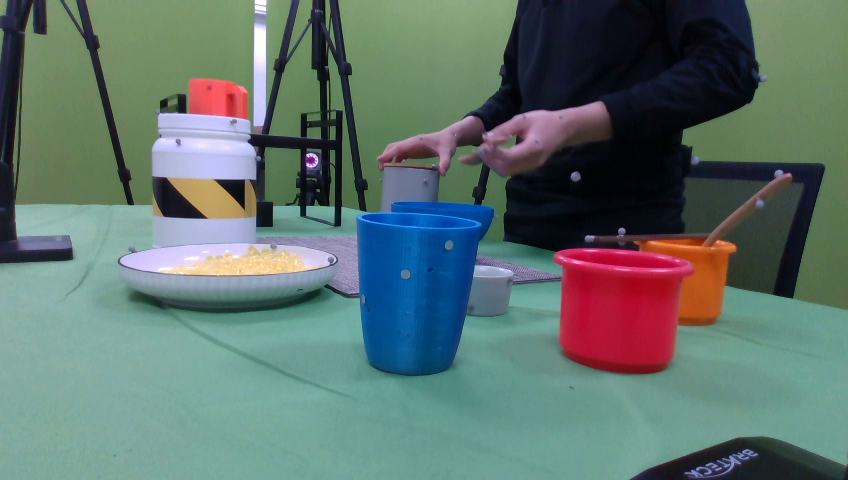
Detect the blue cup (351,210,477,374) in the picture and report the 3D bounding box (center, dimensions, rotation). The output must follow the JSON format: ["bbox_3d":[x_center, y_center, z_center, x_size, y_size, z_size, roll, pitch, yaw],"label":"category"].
[{"bbox_3d":[-0.010,0.034,0.414,0.093,0.100,0.092,4,8,0],"label":"blue cup"}]

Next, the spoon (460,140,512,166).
[{"bbox_3d":[0.088,-0.126,0.864,0.042,0.021,0.193,-5,-2,-10],"label":"spoon"}]

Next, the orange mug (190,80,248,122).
[{"bbox_3d":[-0.394,-0.257,1.173,0.126,0.100,0.084,1,6,25],"label":"orange mug"}]

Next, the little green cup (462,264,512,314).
[{"bbox_3d":[0.053,0.047,0.579,0.061,0.038,0.061,3,8,0],"label":"little green cup"}]

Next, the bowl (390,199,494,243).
[{"bbox_3d":[0.024,-0.015,0.871,0.151,0.077,0.151,3,7,0],"label":"bowl"}]

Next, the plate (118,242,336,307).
[{"bbox_3d":[-0.194,0.033,0.615,0.209,0.038,0.209,2,7,0],"label":"plate"}]

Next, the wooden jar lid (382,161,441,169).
[{"bbox_3d":[-0.023,-0.134,1.121,0.108,0.020,0.108,3,5,0],"label":"wooden jar lid"}]

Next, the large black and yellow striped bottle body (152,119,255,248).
[{"bbox_3d":[-0.296,-0.070,0.819,0.131,0.184,0.130,2,7,0],"label":"large black and yellow striped bottle body"}]

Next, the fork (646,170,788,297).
[{"bbox_3d":[0.256,0.004,0.543,0.028,0.018,0.207,3,-36,-9],"label":"fork"}]

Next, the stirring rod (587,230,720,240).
[{"bbox_3d":[0.226,-0.006,0.587,0.177,0.006,0.014,-2,10,-29],"label":"stirring rod"}]

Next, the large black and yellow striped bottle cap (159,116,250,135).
[{"bbox_3d":[-0.292,-0.153,0.810,0.115,0.019,0.115,3,9,0],"label":"large black and yellow striped bottle cap"}]

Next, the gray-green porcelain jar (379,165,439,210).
[{"bbox_3d":[-0.029,-0.072,1.125,0.106,0.126,0.106,5,4,0],"label":"gray-green porcelain jar"}]
